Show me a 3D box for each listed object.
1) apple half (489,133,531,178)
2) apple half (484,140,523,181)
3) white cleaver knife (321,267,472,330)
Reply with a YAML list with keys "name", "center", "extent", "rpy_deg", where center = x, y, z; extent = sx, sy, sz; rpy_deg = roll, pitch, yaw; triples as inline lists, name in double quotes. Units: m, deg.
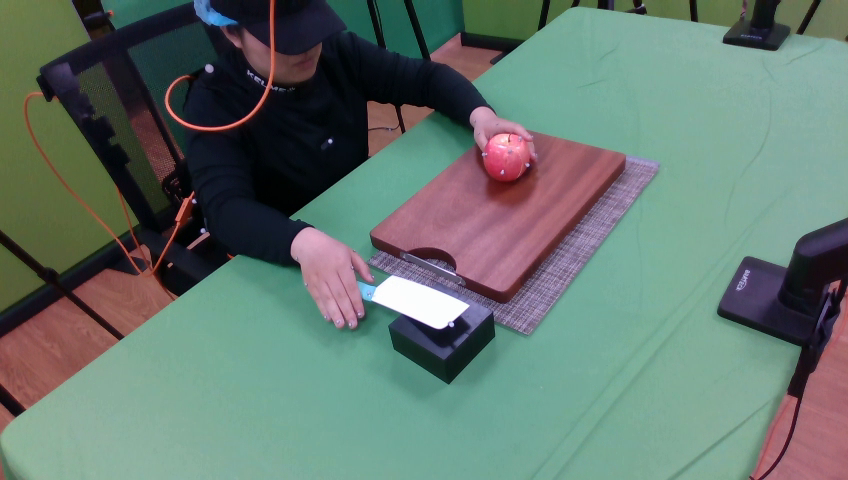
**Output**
- name: "apple half"
  center: [0.153, -0.149, 1.050]
  extent: [0.080, 0.075, 0.053]
  rpy_deg: [22, 46, 33]
- name: "apple half"
  center: [0.129, -0.128, 1.028]
  extent: [0.080, 0.081, 0.033]
  rpy_deg: [22, 46, 32]
- name: "white cleaver knife"
  center: [-0.049, 0.076, 0.868]
  extent: [0.284, 0.021, 0.066]
  rpy_deg: [16, 39, 43]
